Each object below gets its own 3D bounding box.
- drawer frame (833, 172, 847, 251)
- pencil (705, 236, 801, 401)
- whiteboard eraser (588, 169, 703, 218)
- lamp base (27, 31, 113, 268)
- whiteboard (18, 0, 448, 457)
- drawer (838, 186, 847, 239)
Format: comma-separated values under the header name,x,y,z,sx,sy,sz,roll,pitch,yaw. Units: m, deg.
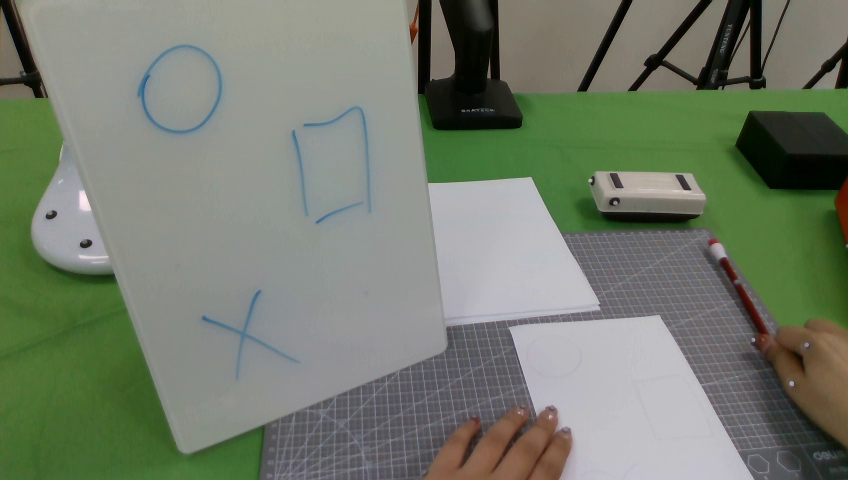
name,x,y,z,sx,sy,sz,roll,pitch,yaw
drawer frame,0.528,0.016,0.580,0.201,0.083,0.212,13,41,12
pencil,0.298,0.064,0.556,0.012,0.012,0.192,0,43,-4
whiteboard eraser,0.242,-0.051,0.666,0.113,0.042,0.055,2,42,-2
lamp base,-0.309,-0.092,0.560,0.178,0.182,0.160,25,45,26
whiteboard,-0.122,-0.037,0.462,0.218,0.307,0.142,-17,26,-21
drawer,0.529,0.019,0.579,0.194,0.074,0.210,14,41,13
